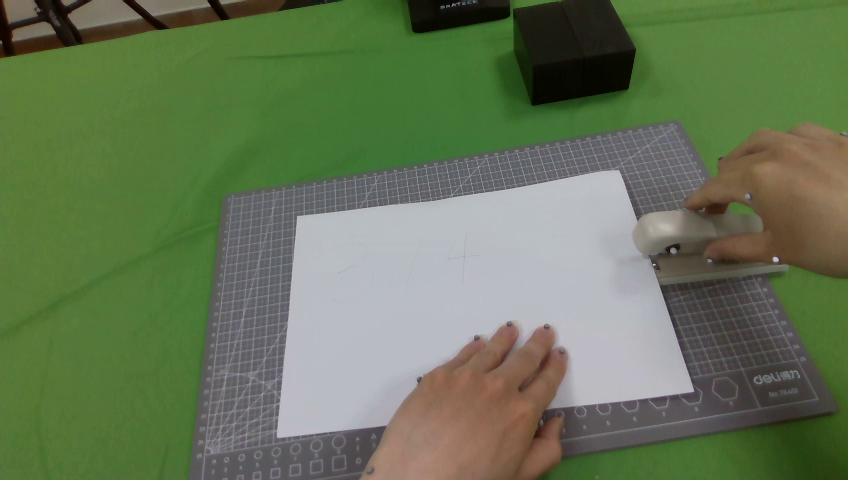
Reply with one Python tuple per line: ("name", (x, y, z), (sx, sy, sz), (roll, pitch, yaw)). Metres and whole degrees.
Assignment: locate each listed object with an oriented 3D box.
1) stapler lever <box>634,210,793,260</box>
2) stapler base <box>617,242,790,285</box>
("stapler lever", (0.221, -0.007, 0.464), (0.118, 0.040, 0.026), (-7, 52, 2))
("stapler base", (0.222, 0.008, 0.481), (0.130, 0.024, 0.041), (-5, 52, 0))
